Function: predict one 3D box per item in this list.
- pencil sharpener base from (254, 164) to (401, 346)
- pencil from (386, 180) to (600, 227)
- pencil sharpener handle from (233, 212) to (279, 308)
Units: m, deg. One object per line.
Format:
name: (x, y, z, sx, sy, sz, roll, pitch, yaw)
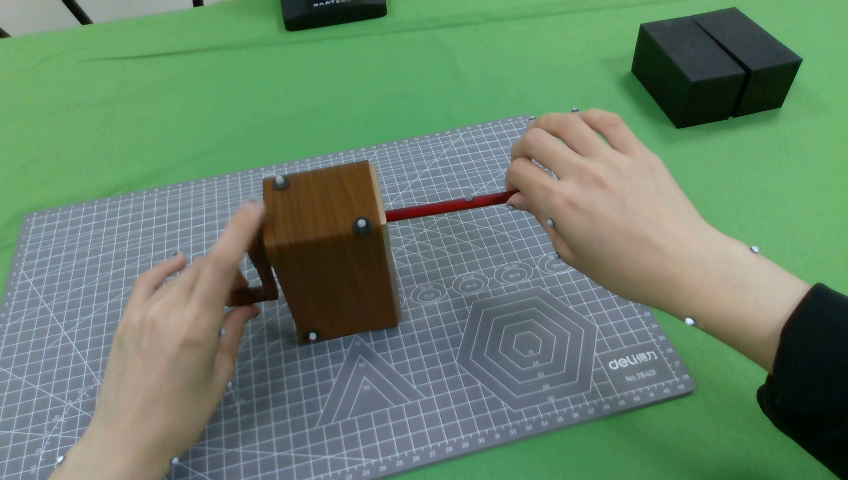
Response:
pencil sharpener base: (-0.060, 0.013, 0.394, 0.077, 0.108, 0.060, -11, 48, -5)
pencil: (0.018, -0.019, 0.382, 0.194, 0.012, 0.012, -10, 48, -6)
pencil sharpener handle: (-0.110, 0.016, 0.378, 0.031, 0.068, 0.035, -11, 39, -5)
